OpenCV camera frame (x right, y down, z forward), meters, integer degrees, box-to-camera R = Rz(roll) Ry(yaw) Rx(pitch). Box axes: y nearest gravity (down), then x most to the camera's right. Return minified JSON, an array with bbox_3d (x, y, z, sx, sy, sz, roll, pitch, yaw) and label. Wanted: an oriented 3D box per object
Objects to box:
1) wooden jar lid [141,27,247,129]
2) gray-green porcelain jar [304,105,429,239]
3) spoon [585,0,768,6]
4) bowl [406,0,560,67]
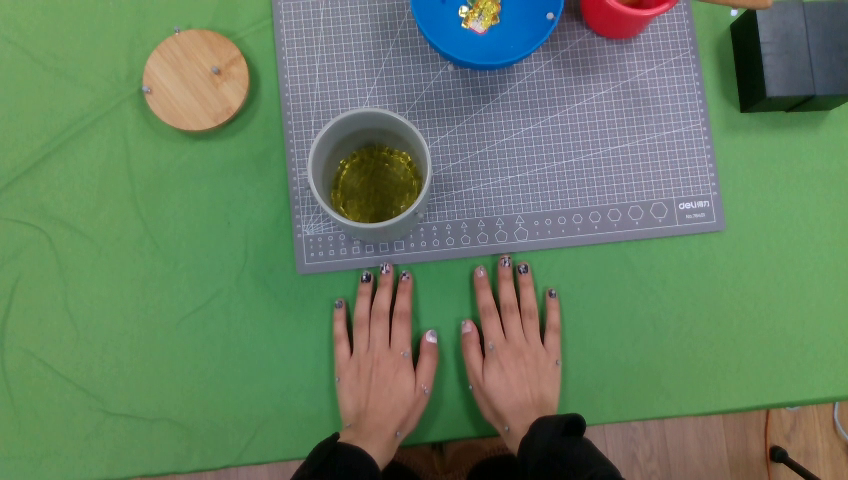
[{"bbox_3d":[-0.237,-0.167,0.632,0.108,0.021,0.108,0,84,-1],"label":"wooden jar lid"},{"bbox_3d":[-0.049,-0.057,0.570,0.106,0.126,0.105,0,84,-1],"label":"gray-green porcelain jar"},{"bbox_3d":[0.233,-0.240,0.586,0.192,0.022,0.041,29,87,46],"label":"spoon"},{"bbox_3d":[0.056,-0.238,0.614,0.151,0.077,0.151,0,84,-1],"label":"bowl"}]
